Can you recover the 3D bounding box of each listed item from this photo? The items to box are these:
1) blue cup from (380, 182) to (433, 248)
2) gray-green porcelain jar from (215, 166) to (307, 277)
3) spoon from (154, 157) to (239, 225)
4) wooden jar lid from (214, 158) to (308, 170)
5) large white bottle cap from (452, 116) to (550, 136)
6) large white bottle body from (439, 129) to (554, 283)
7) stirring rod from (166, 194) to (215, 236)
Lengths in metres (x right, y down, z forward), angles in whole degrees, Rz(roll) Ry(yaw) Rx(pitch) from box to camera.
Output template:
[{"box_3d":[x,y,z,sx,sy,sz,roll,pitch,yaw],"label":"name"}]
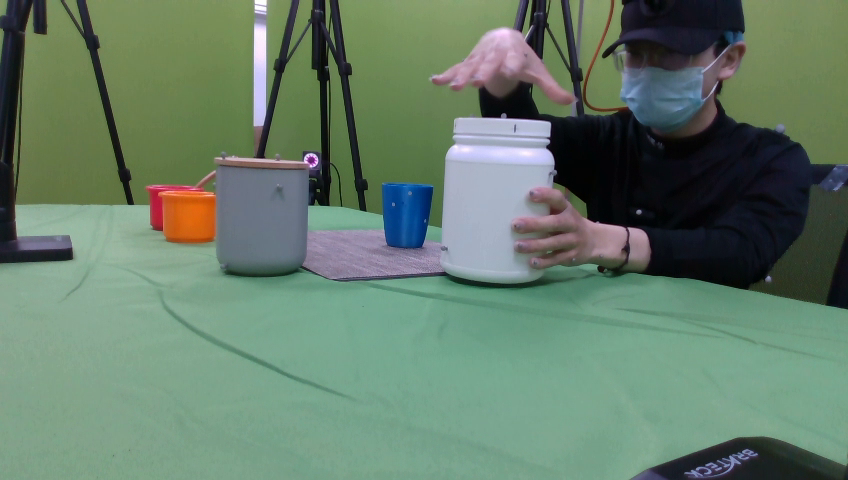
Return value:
[{"box_3d":[-0.029,-0.042,0.979,0.093,0.100,0.092,2,9,0],"label":"blue cup"},{"box_3d":[-0.195,-0.024,0.726,0.106,0.126,0.106,3,7,0],"label":"gray-green porcelain jar"},{"box_3d":[-0.411,-0.092,1.104,0.041,0.022,0.194,12,56,52],"label":"spoon"},{"box_3d":[-0.193,-0.085,0.719,0.108,0.020,0.108,2,9,0],"label":"wooden jar lid"},{"box_3d":[0.091,-0.135,0.715,0.115,0.018,0.115,3,9,0],"label":"large white bottle cap"},{"box_3d":[0.087,-0.050,0.729,0.131,0.184,0.130,3,10,0],"label":"large white bottle body"},{"box_3d":[-0.341,-0.066,0.967,0.176,0.006,0.014,-42,23,-9],"label":"stirring rod"}]
